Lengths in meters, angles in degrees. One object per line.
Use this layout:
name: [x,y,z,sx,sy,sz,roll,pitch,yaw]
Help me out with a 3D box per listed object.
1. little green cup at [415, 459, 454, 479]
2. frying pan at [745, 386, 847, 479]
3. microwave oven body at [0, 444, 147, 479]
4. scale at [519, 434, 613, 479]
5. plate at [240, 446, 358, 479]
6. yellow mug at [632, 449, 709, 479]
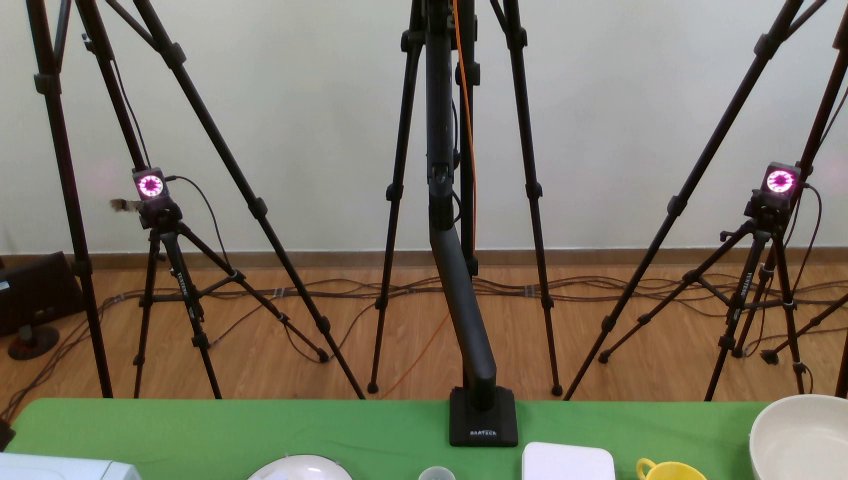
little green cup: [0.017,0.388,0.972,0.061,0.039,0.061,-2,37,2]
frying pan: [0.691,0.405,0.858,0.307,0.103,0.482,-17,32,-17]
microwave oven body: [-0.541,0.488,0.680,0.326,0.262,0.438,2,38,5]
scale: [0.224,0.400,0.950,0.148,0.032,0.199,2,38,7]
plate: [-0.200,0.420,0.942,0.208,0.039,0.205,-1,37,1]
yellow mug: [0.372,0.379,0.941,0.100,0.064,0.129,-21,40,-22]
